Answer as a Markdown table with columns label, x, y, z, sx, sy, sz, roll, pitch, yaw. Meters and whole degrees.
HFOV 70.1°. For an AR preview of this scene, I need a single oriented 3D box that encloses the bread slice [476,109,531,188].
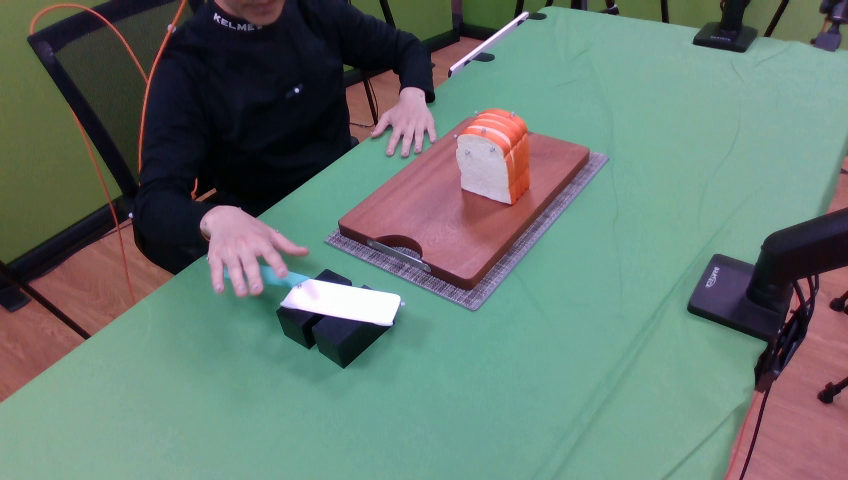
| label | x | y | z | sx | sy | sz | roll | pitch | yaw |
| --- | --- | --- | --- | --- | --- | --- | --- | --- | --- |
| bread slice | 0.130 | -0.152 | 0.999 | 0.106 | 0.135 | 0.018 | 23 | 49 | 28 |

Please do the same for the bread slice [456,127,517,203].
| label | x | y | z | sx | sy | sz | roll | pitch | yaw |
| --- | --- | --- | --- | --- | --- | --- | --- | --- | --- |
| bread slice | 0.097 | -0.121 | 0.969 | 0.104 | 0.132 | 0.019 | 20 | 54 | 30 |

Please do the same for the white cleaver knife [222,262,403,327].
| label | x | y | z | sx | sy | sz | roll | pitch | yaw |
| --- | --- | --- | --- | --- | --- | --- | --- | --- | --- |
| white cleaver knife | -0.165 | 0.073 | 0.844 | 0.285 | 0.021 | 0.066 | 8 | 42 | 20 |
